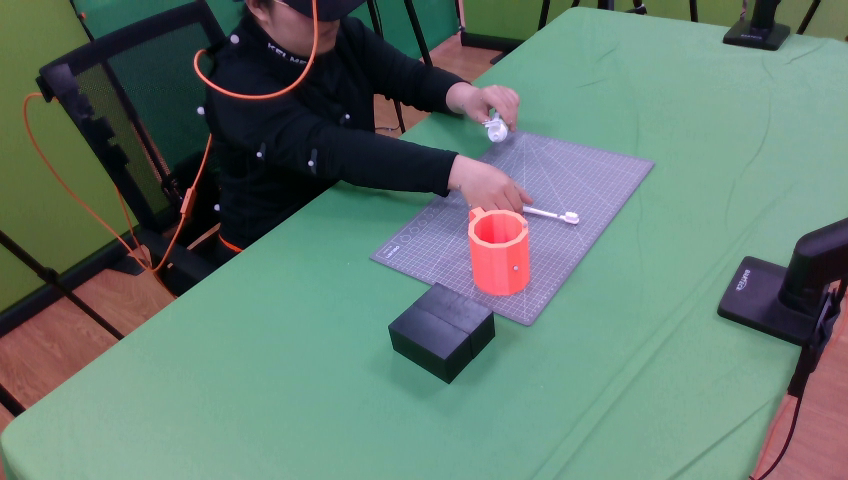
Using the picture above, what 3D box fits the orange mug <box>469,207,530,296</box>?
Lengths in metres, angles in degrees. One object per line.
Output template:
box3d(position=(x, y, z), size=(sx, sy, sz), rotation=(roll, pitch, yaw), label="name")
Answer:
box3d(position=(0.104, 0.008, 0.894), size=(0.084, 0.101, 0.125), rotation=(-22, 46, -14), label="orange mug")

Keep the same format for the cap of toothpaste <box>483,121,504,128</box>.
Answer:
box3d(position=(0.120, -0.200, 1.045), size=(0.037, 0.011, 0.037), rotation=(-4, 10, 1), label="cap of toothpaste")

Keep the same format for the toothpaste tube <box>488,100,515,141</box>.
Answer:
box3d(position=(0.145, -0.221, 1.130), size=(0.034, 0.055, 0.165), rotation=(-24, 17, 25), label="toothpaste tube")

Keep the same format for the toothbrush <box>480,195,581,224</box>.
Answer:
box3d(position=(0.175, -0.054, 1.016), size=(0.180, 0.017, 0.014), rotation=(15, 57, 29), label="toothbrush")
